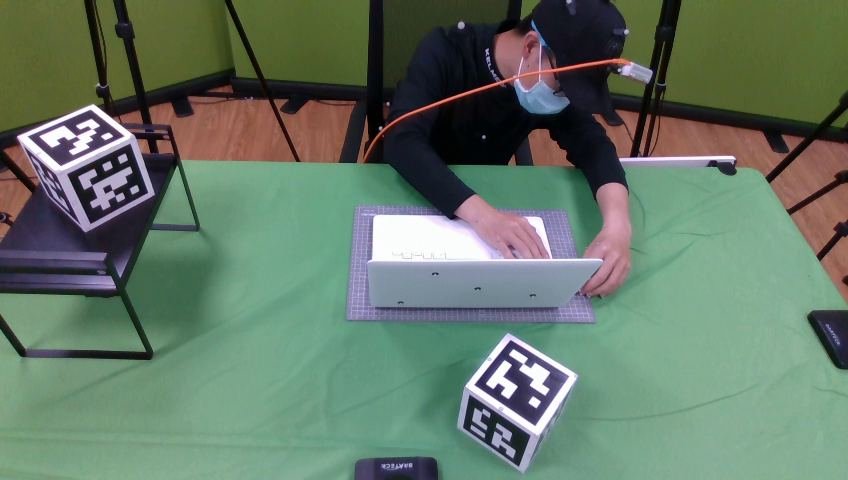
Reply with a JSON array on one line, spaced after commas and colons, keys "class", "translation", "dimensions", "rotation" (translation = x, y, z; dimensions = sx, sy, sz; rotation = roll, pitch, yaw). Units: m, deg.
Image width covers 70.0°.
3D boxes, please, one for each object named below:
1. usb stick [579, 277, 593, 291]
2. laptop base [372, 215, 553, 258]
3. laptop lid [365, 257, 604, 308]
[{"class": "usb stick", "translation": [0.281, 0.081, 1.122], "dimensions": [0.059, 0.027, 0.021], "rotation": [-14, 47, -12]}, {"class": "laptop base", "translation": [0.075, 0.037, 1.168], "dimensions": [0.355, 0.023, 0.234], "rotation": [0, 43, -4]}, {"class": "laptop lid", "translation": [0.085, 0.073, 0.978], "dimensions": [0.357, 0.242, 0.013], "rotation": [1, 67, -5]}]
